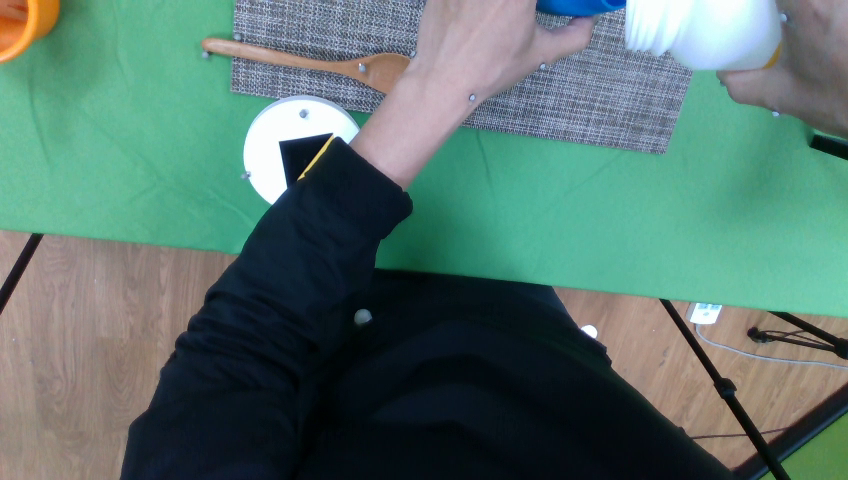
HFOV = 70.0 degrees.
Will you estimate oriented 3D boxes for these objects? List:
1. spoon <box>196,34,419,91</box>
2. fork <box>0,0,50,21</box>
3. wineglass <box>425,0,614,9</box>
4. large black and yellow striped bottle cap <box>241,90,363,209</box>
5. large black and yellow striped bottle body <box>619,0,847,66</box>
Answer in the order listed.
[{"bbox_3d":[-0.100,-0.162,0.536,0.194,0.021,0.042,4,135,-15],"label":"spoon"},{"bbox_3d":[-0.360,-0.182,0.401,0.208,0.018,0.028,-8,134,-59],"label":"fork"},{"bbox_3d":[0.069,-0.211,0.455,0.074,0.170,0.074,-17,116,-38],"label":"wineglass"},{"bbox_3d":[-0.115,-0.084,0.578,0.115,0.018,0.116,-6,120,-10],"label":"large black and yellow striped bottle cap"},{"bbox_3d":[0.212,-0.168,0.345,0.183,0.130,0.131,4,116,12],"label":"large black and yellow striped bottle body"}]
